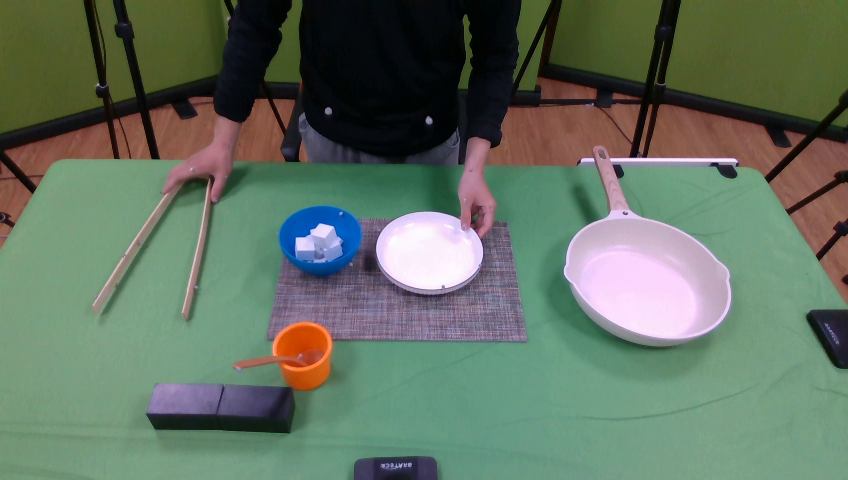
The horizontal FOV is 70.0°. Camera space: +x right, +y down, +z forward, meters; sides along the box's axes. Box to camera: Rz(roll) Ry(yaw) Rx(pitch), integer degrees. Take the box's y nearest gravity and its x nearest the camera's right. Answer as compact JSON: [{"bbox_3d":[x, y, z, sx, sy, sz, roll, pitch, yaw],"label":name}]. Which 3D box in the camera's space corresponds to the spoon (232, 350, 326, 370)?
[{"bbox_3d":[-0.216,0.182,0.919,0.041,0.194,0.021,43,102,27],"label":"spoon"}]

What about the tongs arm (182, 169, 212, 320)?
[{"bbox_3d":[-0.437,-0.006,1.165,0.028,0.028,0.385,-5,47,-6],"label":"tongs arm"}]

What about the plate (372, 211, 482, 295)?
[{"bbox_3d":[0.005,0.028,1.155,0.208,0.039,0.206,3,46,-2],"label":"plate"}]

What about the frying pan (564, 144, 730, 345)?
[{"bbox_3d":[0.396,-0.008,1.179,0.307,0.103,0.484,0,55,-5],"label":"frying pan"}]

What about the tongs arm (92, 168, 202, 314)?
[{"bbox_3d":[-0.518,-0.013,1.160,0.051,0.026,0.382,7,45,1],"label":"tongs arm"}]

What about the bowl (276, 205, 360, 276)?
[{"bbox_3d":[-0.193,0.013,1.125,0.151,0.077,0.150,2,47,-2],"label":"bowl"}]
